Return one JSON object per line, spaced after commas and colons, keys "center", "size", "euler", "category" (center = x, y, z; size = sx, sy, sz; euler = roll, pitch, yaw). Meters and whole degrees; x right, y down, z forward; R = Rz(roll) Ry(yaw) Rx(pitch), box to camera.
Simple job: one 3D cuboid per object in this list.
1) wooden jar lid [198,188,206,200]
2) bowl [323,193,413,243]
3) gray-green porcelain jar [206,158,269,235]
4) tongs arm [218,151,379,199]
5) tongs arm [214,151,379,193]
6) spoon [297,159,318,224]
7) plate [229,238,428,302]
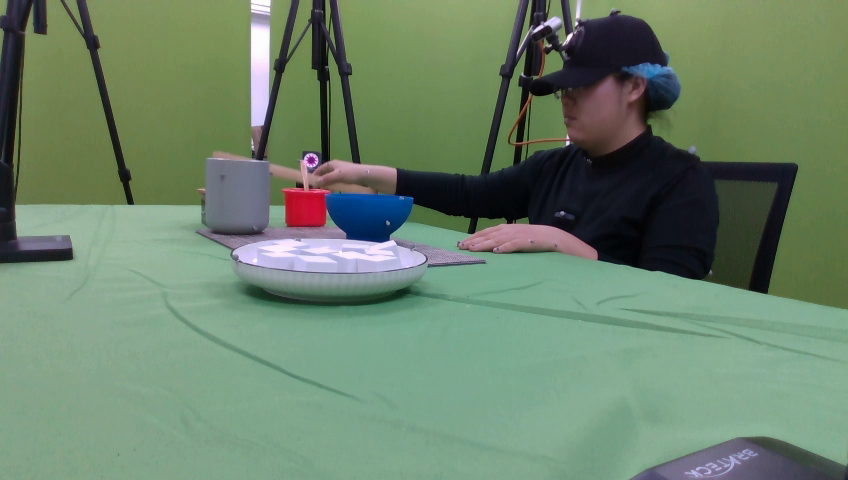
{"center": [-0.382, -0.088, 1.175], "size": [0.108, 0.020, 0.108], "euler": [3, 8, 0], "category": "wooden jar lid"}
{"center": [-0.093, -0.037, 1.015], "size": [0.151, 0.077, 0.151], "euler": [2, 7, 0], "category": "bowl"}
{"center": [-0.322, -0.076, 1.048], "size": [0.106, 0.126, 0.106], "euler": [3, 7, 0], "category": "gray-green porcelain jar"}
{"center": [-0.300, -0.157, 1.460], "size": [0.386, 0.026, 0.050], "euler": [12, 3, -14], "category": "tongs arm"}
{"center": [-0.289, -0.150, 1.411], "size": [0.389, 0.028, 0.028], "euler": [12, 0, -18], "category": "tongs arm"}
{"center": [-0.244, -0.103, 1.251], "size": [0.042, 0.021, 0.193], "euler": [1, 51, -17], "category": "spoon"}
{"center": [-0.099, 0.032, 0.651], "size": [0.209, 0.038, 0.209], "euler": [3, 8, 0], "category": "plate"}
